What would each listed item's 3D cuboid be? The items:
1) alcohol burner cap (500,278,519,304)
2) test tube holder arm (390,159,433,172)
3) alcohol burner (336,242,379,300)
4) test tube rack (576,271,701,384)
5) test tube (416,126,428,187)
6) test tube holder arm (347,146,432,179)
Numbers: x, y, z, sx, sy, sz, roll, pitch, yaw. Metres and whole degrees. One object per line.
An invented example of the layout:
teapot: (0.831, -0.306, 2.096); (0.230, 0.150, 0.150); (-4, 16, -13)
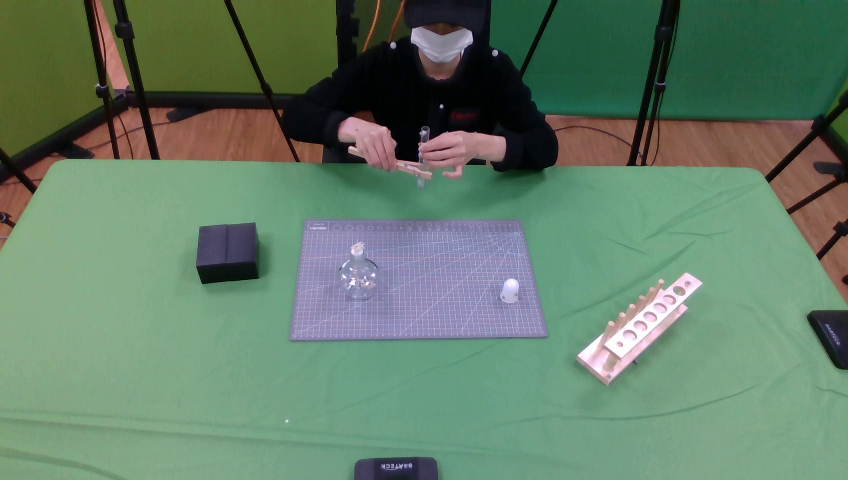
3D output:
alcohol burner cap: (0.157, 0.090, 1.104); (0.034, 0.048, 0.033); (2, 46, -2)
test tube holder arm: (-0.025, -0.147, 1.197); (0.088, 0.015, 0.010); (7, 47, -2)
alcohol burner: (-0.118, 0.050, 1.072); (0.078, 0.120, 0.077); (2, 44, -1)
test tube rack: (0.373, 0.138, 1.047); (0.242, 0.085, 0.066); (-31, 56, -29)
test tube: (-0.004, -0.158, 1.168); (0.017, 0.151, 0.017); (2, 49, -3)
test tube holder arm: (-0.070, -0.154, 1.197); (0.178, 0.015, 0.013); (17, 47, 8)
